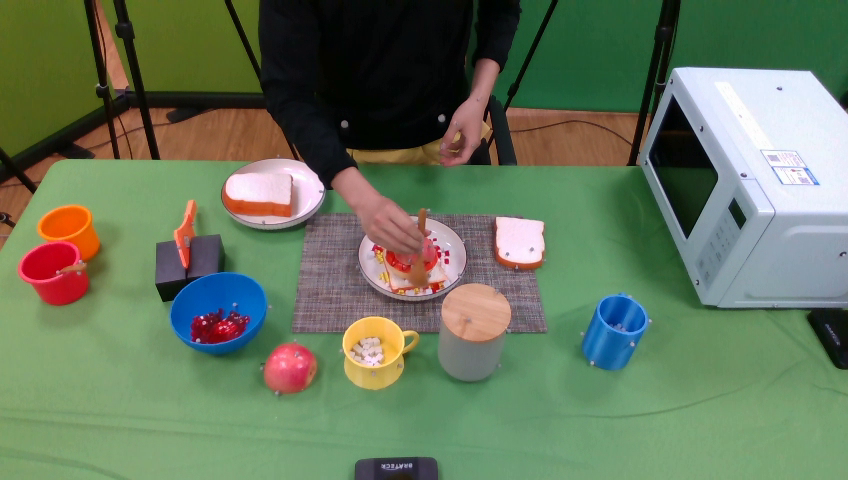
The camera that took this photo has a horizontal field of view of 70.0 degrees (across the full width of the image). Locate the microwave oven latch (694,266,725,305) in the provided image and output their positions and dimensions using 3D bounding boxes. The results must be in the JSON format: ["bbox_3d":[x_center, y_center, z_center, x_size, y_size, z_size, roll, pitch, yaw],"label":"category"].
[{"bbox_3d":[0.523,0.082,1.115,0.030,0.029,0.078,3,46,0],"label":"microwave oven latch"}]

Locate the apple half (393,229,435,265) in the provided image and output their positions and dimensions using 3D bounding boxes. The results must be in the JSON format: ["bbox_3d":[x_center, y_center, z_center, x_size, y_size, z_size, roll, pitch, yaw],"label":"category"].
[{"bbox_3d":[-0.018,0.005,1.084,0.081,0.033,0.081,6,51,-7],"label":"apple half"}]

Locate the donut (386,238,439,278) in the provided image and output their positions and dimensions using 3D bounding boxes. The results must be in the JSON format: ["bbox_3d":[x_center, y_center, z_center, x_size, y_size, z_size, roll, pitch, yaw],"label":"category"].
[{"bbox_3d":[-0.022,0.028,1.110,0.099,0.048,0.098,3,46,-2],"label":"donut"}]

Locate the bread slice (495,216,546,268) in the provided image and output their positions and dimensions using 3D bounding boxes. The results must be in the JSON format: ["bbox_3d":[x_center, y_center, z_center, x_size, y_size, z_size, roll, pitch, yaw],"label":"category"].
[{"bbox_3d":[0.194,0.002,1.205,0.105,0.019,0.131,5,45,2],"label":"bread slice"}]

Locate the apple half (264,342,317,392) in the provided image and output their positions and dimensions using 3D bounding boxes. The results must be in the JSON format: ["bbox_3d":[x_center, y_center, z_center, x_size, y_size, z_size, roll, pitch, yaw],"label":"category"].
[{"bbox_3d":[-0.214,0.198,0.970,0.074,0.053,0.080,19,48,11],"label":"apple half"}]

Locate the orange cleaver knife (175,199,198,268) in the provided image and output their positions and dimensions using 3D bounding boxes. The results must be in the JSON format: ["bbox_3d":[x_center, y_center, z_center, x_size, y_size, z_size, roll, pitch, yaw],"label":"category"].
[{"bbox_3d":[-0.438,-0.017,1.138,0.012,0.077,0.210,-14,27,-6],"label":"orange cleaver knife"}]

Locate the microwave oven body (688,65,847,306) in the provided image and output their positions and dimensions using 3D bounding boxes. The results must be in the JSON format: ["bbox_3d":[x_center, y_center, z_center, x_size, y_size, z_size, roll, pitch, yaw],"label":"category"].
[{"bbox_3d":[0.669,-0.111,1.176,0.326,0.261,0.439,0,46,-3],"label":"microwave oven body"}]

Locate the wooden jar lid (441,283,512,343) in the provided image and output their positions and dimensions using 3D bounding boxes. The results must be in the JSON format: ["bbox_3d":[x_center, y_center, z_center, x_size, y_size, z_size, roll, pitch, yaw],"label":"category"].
[{"bbox_3d":[0.080,0.114,0.931,0.108,0.021,0.107,1,49,-1],"label":"wooden jar lid"}]

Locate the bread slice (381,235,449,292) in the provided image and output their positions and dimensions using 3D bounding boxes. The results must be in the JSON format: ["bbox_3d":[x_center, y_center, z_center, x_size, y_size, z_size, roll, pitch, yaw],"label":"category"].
[{"bbox_3d":[-0.027,0.039,1.139,0.107,0.018,0.133,-12,47,-16],"label":"bread slice"}]

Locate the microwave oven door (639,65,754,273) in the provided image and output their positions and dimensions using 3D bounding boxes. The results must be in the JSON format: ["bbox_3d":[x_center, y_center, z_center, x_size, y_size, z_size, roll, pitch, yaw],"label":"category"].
[{"bbox_3d":[0.522,-0.147,1.193,0.039,0.245,0.353,0,47,-3],"label":"microwave oven door"}]

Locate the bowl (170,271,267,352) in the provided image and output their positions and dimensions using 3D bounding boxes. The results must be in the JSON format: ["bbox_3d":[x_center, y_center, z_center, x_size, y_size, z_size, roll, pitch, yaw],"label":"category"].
[{"bbox_3d":[-0.333,0.132,1.006,0.151,0.077,0.150,2,46,-2],"label":"bowl"}]

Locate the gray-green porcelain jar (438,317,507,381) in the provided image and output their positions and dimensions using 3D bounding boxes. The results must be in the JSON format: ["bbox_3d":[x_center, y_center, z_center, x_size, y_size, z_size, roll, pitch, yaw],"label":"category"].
[{"bbox_3d":[0.076,0.158,0.977,0.106,0.127,0.105,2,46,-2],"label":"gray-green porcelain jar"}]

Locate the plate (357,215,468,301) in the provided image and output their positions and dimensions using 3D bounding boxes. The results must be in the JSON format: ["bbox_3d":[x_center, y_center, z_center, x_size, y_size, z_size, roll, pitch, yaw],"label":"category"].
[{"bbox_3d":[-0.022,0.037,1.141,0.208,0.039,0.206,2,46,-2],"label":"plate"}]

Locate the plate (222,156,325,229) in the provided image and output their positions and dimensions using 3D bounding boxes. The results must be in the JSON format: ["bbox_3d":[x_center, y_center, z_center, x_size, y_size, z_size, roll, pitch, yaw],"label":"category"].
[{"bbox_3d":[-0.308,-0.095,1.251,0.209,0.038,0.208,2,47,-2],"label":"plate"}]

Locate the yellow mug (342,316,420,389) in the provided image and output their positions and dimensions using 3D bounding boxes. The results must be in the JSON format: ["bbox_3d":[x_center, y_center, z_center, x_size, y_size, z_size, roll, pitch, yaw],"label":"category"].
[{"bbox_3d":[-0.067,0.177,0.990,0.131,0.064,0.099,-16,50,-19],"label":"yellow mug"}]

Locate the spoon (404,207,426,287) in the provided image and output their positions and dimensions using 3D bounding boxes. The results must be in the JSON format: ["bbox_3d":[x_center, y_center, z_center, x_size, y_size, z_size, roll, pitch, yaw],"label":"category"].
[{"bbox_3d":[-0.010,0.015,1.020,0.041,0.194,0.021,15,43,9],"label":"spoon"}]

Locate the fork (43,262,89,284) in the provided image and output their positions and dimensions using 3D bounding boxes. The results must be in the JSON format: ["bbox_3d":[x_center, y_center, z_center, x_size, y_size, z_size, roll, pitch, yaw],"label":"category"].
[{"bbox_3d":[-0.599,0.053,1.014,0.207,0.019,0.028,-14,30,45],"label":"fork"}]

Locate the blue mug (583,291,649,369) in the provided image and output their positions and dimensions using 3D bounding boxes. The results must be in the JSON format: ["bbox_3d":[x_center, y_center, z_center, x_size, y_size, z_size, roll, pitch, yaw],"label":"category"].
[{"bbox_3d":[0.324,0.142,1.023,0.082,0.106,0.116,15,47,11],"label":"blue mug"}]
